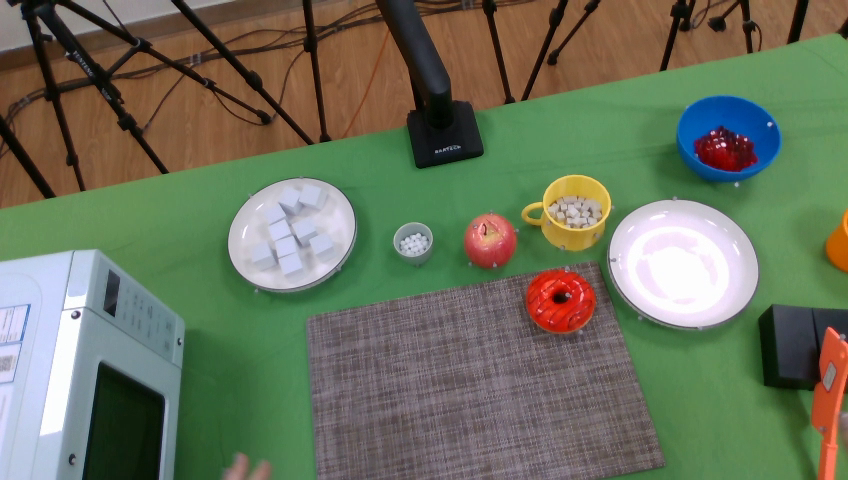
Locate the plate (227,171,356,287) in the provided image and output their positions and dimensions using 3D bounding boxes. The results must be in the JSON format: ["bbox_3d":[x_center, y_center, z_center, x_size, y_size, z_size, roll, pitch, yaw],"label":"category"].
[{"bbox_3d":[-0.210,-0.015,0.976,0.207,0.039,0.206,-3,62,5],"label":"plate"}]

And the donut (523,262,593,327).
[{"bbox_3d":[0.192,0.078,0.872,0.099,0.048,0.098,-3,63,7],"label":"donut"}]

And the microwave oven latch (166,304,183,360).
[{"bbox_3d":[-0.375,0.137,0.894,0.030,0.030,0.078,-7,63,3],"label":"microwave oven latch"}]

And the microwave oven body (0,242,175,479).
[{"bbox_3d":[-0.512,0.268,0.731,0.326,0.262,0.437,-9,62,2],"label":"microwave oven body"}]

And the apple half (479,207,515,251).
[{"bbox_3d":[0.116,-0.020,0.920,0.033,0.082,0.080,-37,64,-7],"label":"apple half"}]

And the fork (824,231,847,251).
[{"bbox_3d":[0.657,-0.028,0.817,0.207,0.019,0.028,-29,48,42],"label":"fork"}]

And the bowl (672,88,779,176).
[{"bbox_3d":[0.458,-0.154,0.947,0.151,0.077,0.150,-3,63,6],"label":"bowl"}]

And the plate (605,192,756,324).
[{"bbox_3d":[0.369,0.027,0.886,0.209,0.038,0.207,-3,62,6],"label":"plate"}]

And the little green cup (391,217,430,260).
[{"bbox_3d":[-0.019,0.000,0.945,0.061,0.039,0.061,-3,62,6],"label":"little green cup"}]

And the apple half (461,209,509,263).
[{"bbox_3d":[0.085,0.002,0.913,0.053,0.075,0.080,-37,68,-7],"label":"apple half"}]

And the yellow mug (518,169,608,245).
[{"bbox_3d":[0.211,-0.050,0.929,0.131,0.064,0.099,-2,62,7],"label":"yellow mug"}]

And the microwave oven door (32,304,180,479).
[{"bbox_3d":[-0.364,0.281,0.701,0.039,0.246,0.352,-9,62,2],"label":"microwave oven door"}]

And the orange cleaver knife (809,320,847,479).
[{"bbox_3d":[0.493,0.206,0.748,0.012,0.077,0.211,6,95,12],"label":"orange cleaver knife"}]
